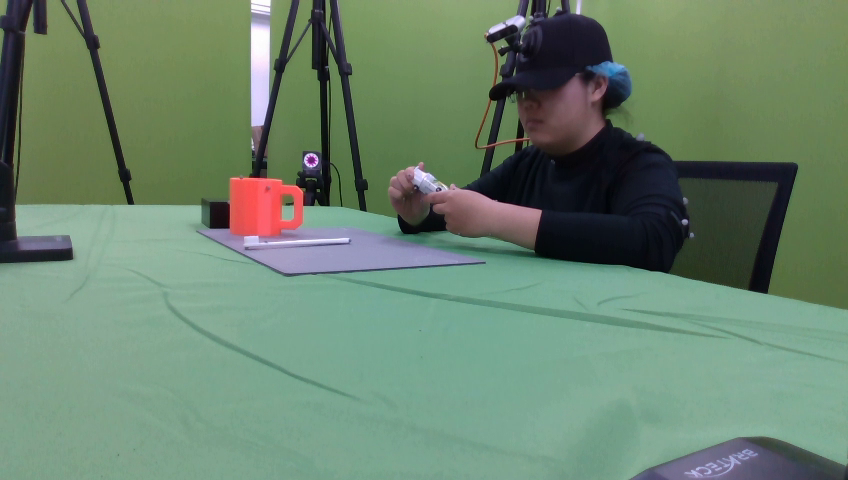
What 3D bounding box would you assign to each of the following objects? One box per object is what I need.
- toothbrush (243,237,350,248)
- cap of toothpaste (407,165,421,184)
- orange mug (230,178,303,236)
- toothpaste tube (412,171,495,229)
[{"bbox_3d":[-0.191,0.002,0.927,0.183,0.016,0.014,-2,-7,-41],"label":"toothbrush"},{"bbox_3d":[-0.016,-0.115,1.069,0.011,0.037,0.037,32,12,8],"label":"cap of toothpaste"},{"bbox_3d":[-0.276,-0.060,1.058,0.126,0.101,0.083,-2,8,-5],"label":"orange mug"},{"bbox_3d":[0.049,-0.071,1.055,0.165,0.034,0.055,33,33,9],"label":"toothpaste tube"}]
